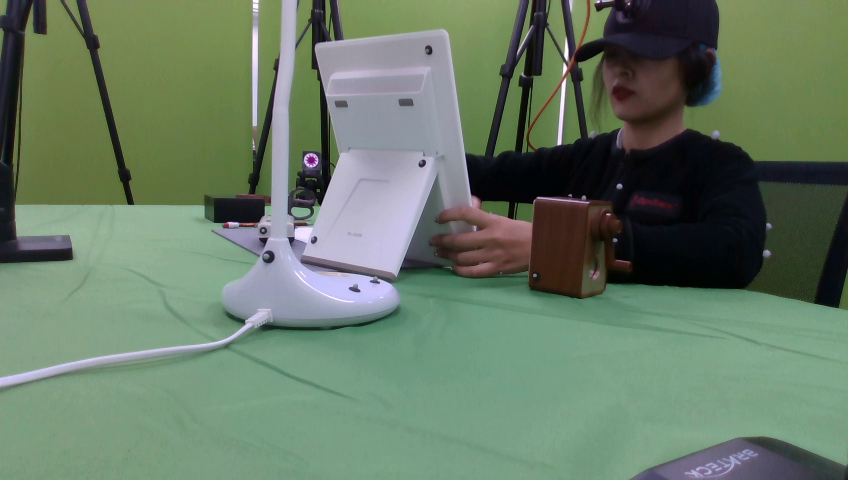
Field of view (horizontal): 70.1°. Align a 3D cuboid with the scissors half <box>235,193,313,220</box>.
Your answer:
[{"bbox_3d":[-0.325,-0.077,1.319,0.176,0.040,0.012,17,7,-32],"label":"scissors half"}]

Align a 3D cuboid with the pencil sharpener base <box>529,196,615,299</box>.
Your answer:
[{"bbox_3d":[0.168,0.007,0.678,0.076,0.107,0.062,10,10,42],"label":"pencil sharpener base"}]

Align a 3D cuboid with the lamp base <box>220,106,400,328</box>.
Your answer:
[{"bbox_3d":[-0.101,-0.023,0.531,0.160,0.180,0.179,4,10,10],"label":"lamp base"}]

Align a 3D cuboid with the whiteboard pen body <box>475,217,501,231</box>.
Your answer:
[{"bbox_3d":[0.071,-0.026,0.899,0.017,0.017,0.141,9,3,41],"label":"whiteboard pen body"}]

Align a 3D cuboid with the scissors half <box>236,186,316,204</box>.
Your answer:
[{"bbox_3d":[-0.320,-0.097,1.316,0.176,0.040,0.013,-3,12,-29],"label":"scissors half"}]

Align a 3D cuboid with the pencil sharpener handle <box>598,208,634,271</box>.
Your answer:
[{"bbox_3d":[0.208,0.000,0.644,0.030,0.068,0.036,10,23,42],"label":"pencil sharpener handle"}]

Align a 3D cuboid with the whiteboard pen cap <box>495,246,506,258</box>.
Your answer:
[{"bbox_3d":[0.118,0.019,0.932,0.018,0.018,0.033,3,5,4],"label":"whiteboard pen cap"}]

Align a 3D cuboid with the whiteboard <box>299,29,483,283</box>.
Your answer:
[{"bbox_3d":[-0.074,-0.082,0.742,0.216,0.305,0.144,9,30,38],"label":"whiteboard"}]

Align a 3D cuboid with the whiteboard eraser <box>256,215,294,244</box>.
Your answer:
[{"bbox_3d":[-0.232,-0.016,0.951,0.056,0.042,0.112,2,7,-12],"label":"whiteboard eraser"}]

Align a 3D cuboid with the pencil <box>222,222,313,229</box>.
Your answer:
[{"bbox_3d":[-0.302,-0.030,1.189,0.195,0.012,0.012,-2,9,-42],"label":"pencil"}]
